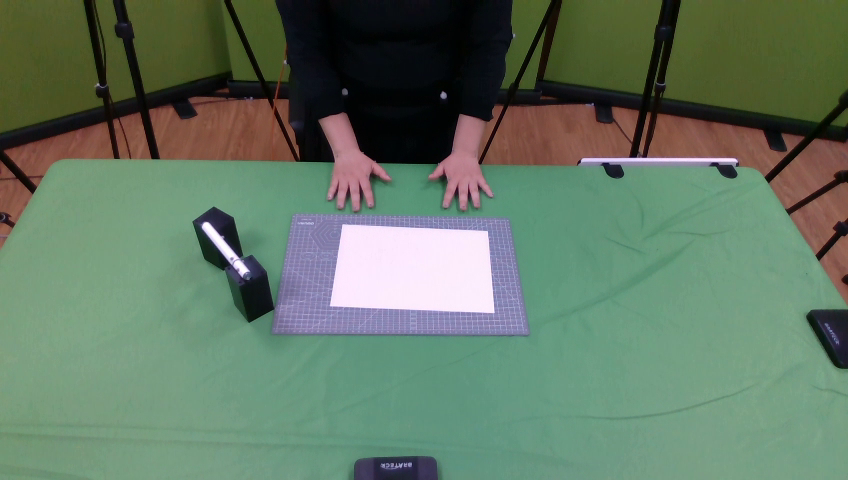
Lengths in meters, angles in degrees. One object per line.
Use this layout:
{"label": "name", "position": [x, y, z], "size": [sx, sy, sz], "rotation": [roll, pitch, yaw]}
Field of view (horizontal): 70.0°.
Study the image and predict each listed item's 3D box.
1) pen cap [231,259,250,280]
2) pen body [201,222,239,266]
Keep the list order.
{"label": "pen cap", "position": [-0.299, 0.049, 0.991], "size": [0.017, 0.017, 0.038], "rotation": [-29, 55, -28]}
{"label": "pen body", "position": [-0.338, 0.014, 1.023], "size": [0.017, 0.017, 0.143], "rotation": [-29, 53, -28]}
